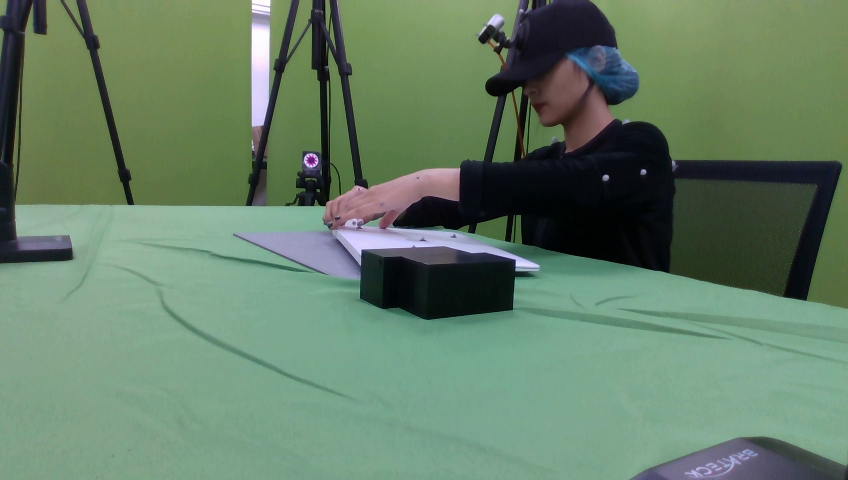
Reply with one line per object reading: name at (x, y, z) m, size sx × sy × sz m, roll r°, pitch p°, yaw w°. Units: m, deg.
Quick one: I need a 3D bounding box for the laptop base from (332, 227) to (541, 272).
laptop base at (-0.004, 0.015, 0.903) m, size 0.236 × 0.023 × 0.353 m, roll 5°, pitch 6°, yaw -15°

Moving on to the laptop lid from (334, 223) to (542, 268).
laptop lid at (-0.001, 0.003, 0.903) m, size 0.242 × 0.013 × 0.355 m, roll 4°, pitch 7°, yaw -14°

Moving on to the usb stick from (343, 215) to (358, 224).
usb stick at (-0.131, -0.027, 1.075) m, size 0.021 × 0.027 × 0.059 m, roll 7°, pitch 11°, yaw -12°
